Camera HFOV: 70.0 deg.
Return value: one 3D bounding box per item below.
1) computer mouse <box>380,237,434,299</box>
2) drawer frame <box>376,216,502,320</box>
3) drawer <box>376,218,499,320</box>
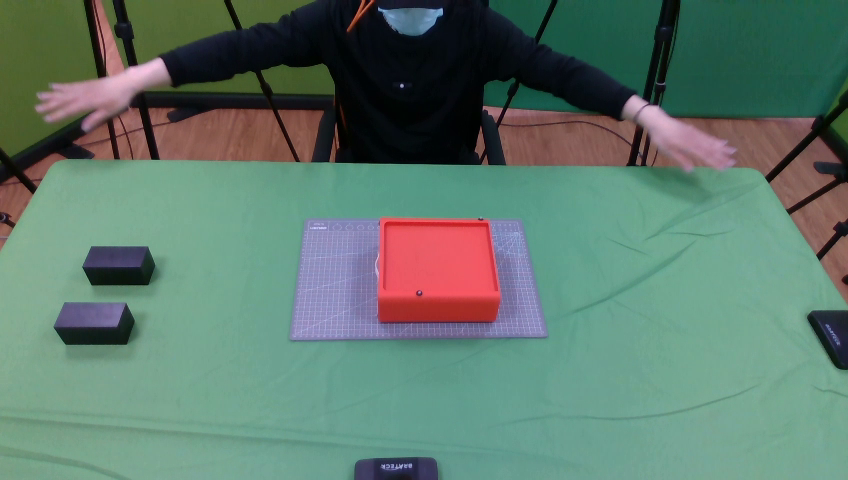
[{"bbox_3d":[-0.029,0.048,1.104,0.063,0.041,0.117,28,64,1],"label":"computer mouse"},{"bbox_3d":[0.021,0.049,1.102,0.214,0.083,0.200,1,46,-4],"label":"drawer frame"},{"bbox_3d":[0.019,0.050,1.102,0.212,0.073,0.193,1,46,-3],"label":"drawer"}]
